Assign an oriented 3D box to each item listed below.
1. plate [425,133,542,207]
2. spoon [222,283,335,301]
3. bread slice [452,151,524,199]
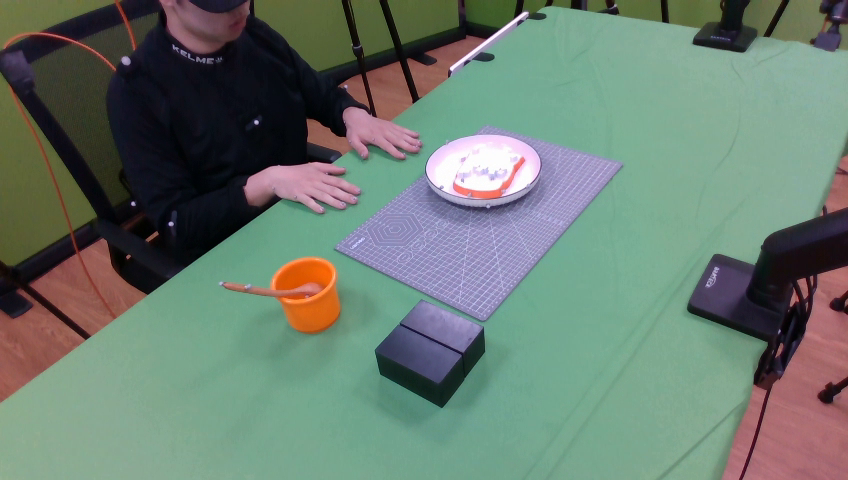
[{"bbox_3d":[0.105,-0.121,1.079,0.209,0.038,0.208,-4,41,4],"label":"plate"},{"bbox_3d":[-0.188,0.070,0.811,0.041,0.021,0.195,29,12,33],"label":"spoon"},{"bbox_3d":[0.112,-0.118,1.079,0.104,0.019,0.131,11,42,21],"label":"bread slice"}]
